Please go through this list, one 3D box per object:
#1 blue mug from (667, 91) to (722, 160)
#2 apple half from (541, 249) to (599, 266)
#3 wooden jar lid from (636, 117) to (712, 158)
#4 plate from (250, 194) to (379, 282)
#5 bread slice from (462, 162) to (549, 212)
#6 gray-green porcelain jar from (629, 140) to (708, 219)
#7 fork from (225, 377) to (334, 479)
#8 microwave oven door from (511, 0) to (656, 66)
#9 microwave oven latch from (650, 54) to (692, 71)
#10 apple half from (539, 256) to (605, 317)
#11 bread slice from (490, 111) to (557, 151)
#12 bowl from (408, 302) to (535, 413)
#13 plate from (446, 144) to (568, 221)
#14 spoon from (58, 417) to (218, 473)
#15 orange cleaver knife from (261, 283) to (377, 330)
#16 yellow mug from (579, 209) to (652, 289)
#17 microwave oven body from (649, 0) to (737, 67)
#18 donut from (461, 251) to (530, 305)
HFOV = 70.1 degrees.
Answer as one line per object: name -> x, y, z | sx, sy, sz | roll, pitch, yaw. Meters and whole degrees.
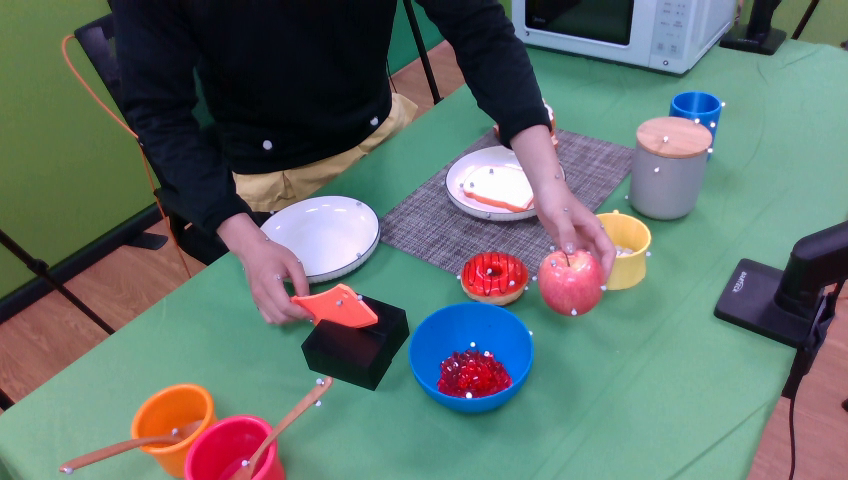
blue mug -> 0.474, -0.207, 1.079 | 0.082, 0.106, 0.116 | 4, 42, 13
apple half -> 0.189, 0.040, 0.774 | 0.081, 0.081, 0.033 | 4, 36, 13
wooden jar lid -> 0.377, -0.151, 0.917 | 0.108, 0.021, 0.108 | -2, 41, 3
plate -> -0.174, -0.001, 0.985 | 0.209, 0.038, 0.208 | -3, 40, 3
bread slice -> 0.135, -0.093, 1.045 | 0.133, 0.018, 0.107 | 15, 45, 23
gray-green porcelain jar -> 0.383, -0.105, 0.958 | 0.106, 0.127, 0.105 | -4, 41, 4
fork -> -0.163, 0.216, 0.646 | 0.207, 0.019, 0.028 | -49, 42, 16
microwave oven door -> 0.350, -0.539, 1.348 | 0.353, 0.245, 0.039 | 24, 50, 31
microwave oven latch -> 0.531, -0.386, 1.301 | 0.078, 0.029, 0.030 | 25, 51, 33
apple half -> 0.181, 0.062, 0.742 | 0.080, 0.075, 0.053 | 4, 37, 12
bread slice -> 0.194, -0.204, 1.165 | 0.105, 0.019, 0.130 | -13, 40, -3
bowl -> 0.060, 0.156, 0.739 | 0.151, 0.077, 0.150 | -4, 40, 4
plate -> 0.142, -0.096, 1.045 | 0.207, 0.039, 0.206 | -4, 40, 4
spoon -> -0.304, 0.221, 0.661 | 0.041, 0.195, 0.021 | 19, 92, 27
orange cleaver knife -> -0.146, 0.094, 0.816 | 0.210, 0.077, 0.012 | -9, 32, 42
yellow mug -> 0.279, 0.004, 0.893 | 0.099, 0.064, 0.130 | 6, 41, 14
microwave oven body -> 0.475, -0.602, 1.411 | 0.438, 0.261, 0.327 | 23, 50, 32
donut -> 0.103, 0.054, 0.872 | 0.099, 0.048, 0.098 | -5, 40, 4
